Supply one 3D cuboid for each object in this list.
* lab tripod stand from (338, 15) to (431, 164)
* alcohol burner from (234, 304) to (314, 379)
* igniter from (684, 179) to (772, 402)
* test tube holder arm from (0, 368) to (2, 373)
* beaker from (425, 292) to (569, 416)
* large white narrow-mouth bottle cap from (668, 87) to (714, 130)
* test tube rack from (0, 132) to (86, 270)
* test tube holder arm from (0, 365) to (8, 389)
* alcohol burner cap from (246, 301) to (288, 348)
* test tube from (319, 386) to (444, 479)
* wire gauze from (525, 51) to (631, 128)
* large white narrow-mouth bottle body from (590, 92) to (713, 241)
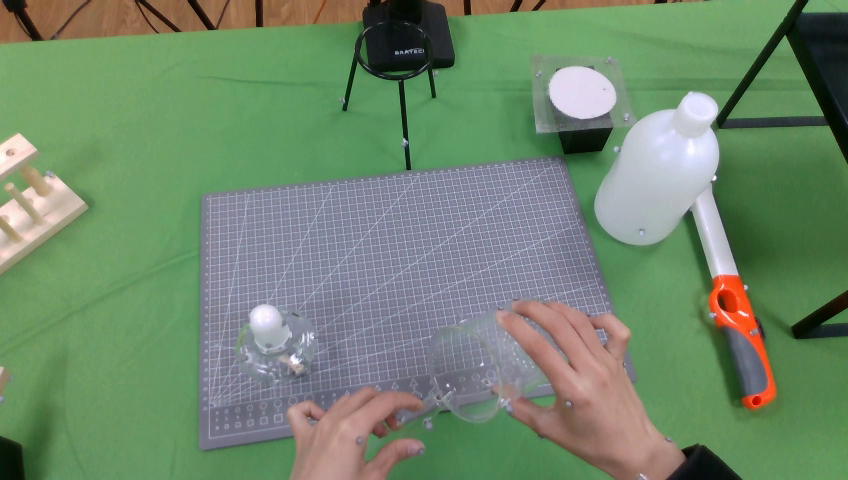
[{"bbox_3d":[-0.038,-0.187,0.733,0.148,0.132,0.147,2,63,-4],"label":"lab tripod stand"},{"bbox_3d":[-0.148,0.092,0.587,0.078,0.120,0.077,2,60,-4],"label":"alcohol burner"},{"bbox_3d":[0.338,0.046,0.689,0.057,0.025,0.274,3,61,-13],"label":"igniter"},{"bbox_3d":[-0.406,0.156,0.544,0.010,0.015,0.087,1,61,8],"label":"test tube holder arm"},{"bbox_3d":[0.060,0.087,0.479,0.100,0.084,0.073,-16,61,-41],"label":"beaker"},{"bbox_3d":[0.256,-0.127,0.584,0.038,0.024,0.037,1,62,-2],"label":"large white narrow-mouth bottle cap"},{"bbox_3d":[-0.497,0.001,0.635,0.066,0.086,0.242,38,66,16],"label":"test tube rack"},{"bbox_3d":[-0.404,0.195,0.522,0.013,0.015,0.177,1,61,8],"label":"test tube holder arm"},{"bbox_3d":[-0.146,0.075,0.555,0.034,0.048,0.033,0,56,0],"label":"alcohol burner cap"},{"bbox_3d":[-0.039,0.168,0.500,0.150,0.017,0.017,-44,66,20],"label":"test tube"},{"bbox_3d":[0.190,-0.192,0.762,0.121,0.011,0.124,0,62,-3],"label":"wire gauze"},{"bbox_3d":[0.253,-0.084,0.659,0.102,0.196,0.101,1,61,-2],"label":"large white narrow-mouth bottle body"}]
